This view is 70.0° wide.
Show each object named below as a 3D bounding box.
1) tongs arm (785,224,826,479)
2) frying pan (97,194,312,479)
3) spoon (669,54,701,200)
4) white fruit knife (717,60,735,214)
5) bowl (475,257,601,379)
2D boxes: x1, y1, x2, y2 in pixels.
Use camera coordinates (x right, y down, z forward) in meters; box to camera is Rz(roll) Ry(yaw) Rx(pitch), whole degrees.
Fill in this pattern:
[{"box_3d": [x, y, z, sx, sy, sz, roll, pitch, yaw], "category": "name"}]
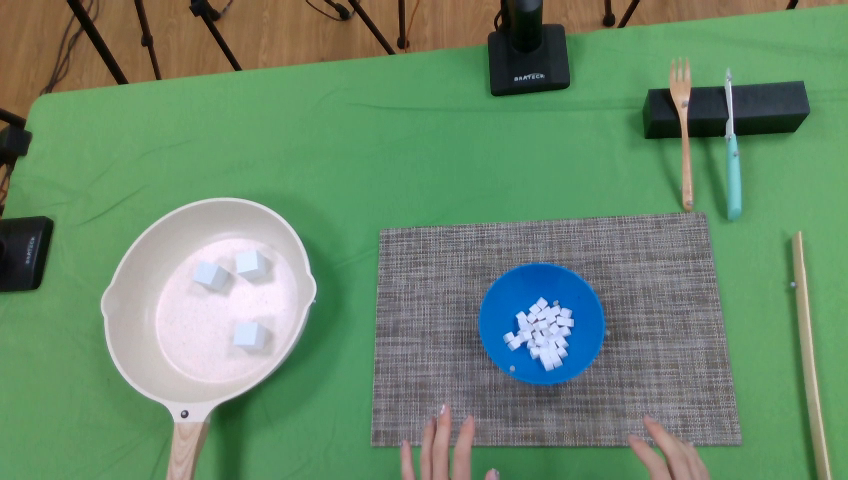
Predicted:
[{"box_3d": [0.462, 0.163, 0.718, 0.028, 0.028, 0.385, 1, 70, 8], "category": "tongs arm"}, {"box_3d": [-0.297, 0.171, 0.793, 0.306, 0.104, 0.483, -3, 61, 9], "category": "frying pan"}, {"box_3d": [0.346, -0.151, 0.816, 0.041, 0.022, 0.193, 5, 91, 34], "category": "spoon"}, {"box_3d": [0.401, -0.140, 0.810, 0.016, 0.027, 0.207, -1, 84, 4], "category": "white fruit knife"}, {"box_3d": [0.141, 0.104, 0.759, 0.151, 0.077, 0.150, -3, 69, 8], "category": "bowl"}]
